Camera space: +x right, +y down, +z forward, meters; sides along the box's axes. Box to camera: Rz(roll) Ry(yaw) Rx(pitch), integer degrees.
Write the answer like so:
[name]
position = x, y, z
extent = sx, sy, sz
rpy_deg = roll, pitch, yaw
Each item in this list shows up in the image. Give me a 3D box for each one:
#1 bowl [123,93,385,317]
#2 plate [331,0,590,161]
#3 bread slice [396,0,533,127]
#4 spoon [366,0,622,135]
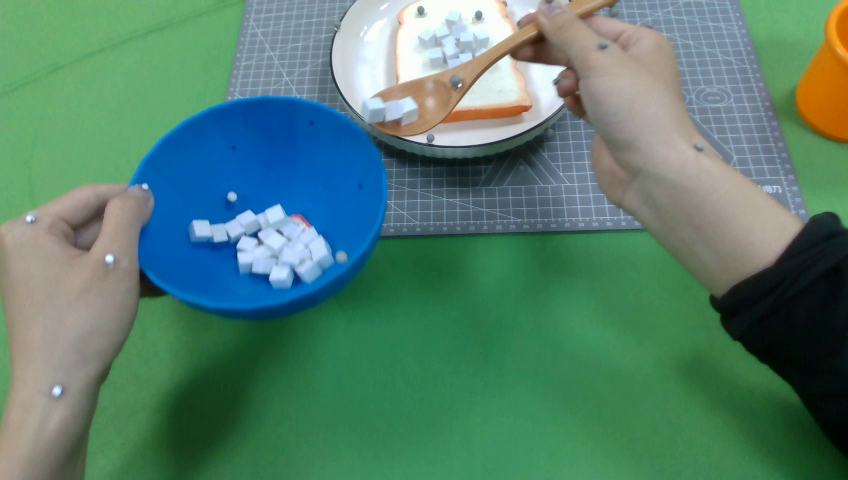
[bowl]
position = -0.097, -0.011, 0.384
extent = 0.151, 0.077, 0.150
rpy_deg = 0, 60, 1
[plate]
position = 0.028, -0.147, 0.503
extent = 0.209, 0.038, 0.207
rpy_deg = -2, 62, 4
[bread slice]
position = 0.026, -0.151, 0.508
extent = 0.107, 0.018, 0.133
rpy_deg = -8, 63, 2
[spoon]
position = 0.054, -0.114, 0.359
extent = 0.194, 0.022, 0.041
rpy_deg = -30, 60, -2
